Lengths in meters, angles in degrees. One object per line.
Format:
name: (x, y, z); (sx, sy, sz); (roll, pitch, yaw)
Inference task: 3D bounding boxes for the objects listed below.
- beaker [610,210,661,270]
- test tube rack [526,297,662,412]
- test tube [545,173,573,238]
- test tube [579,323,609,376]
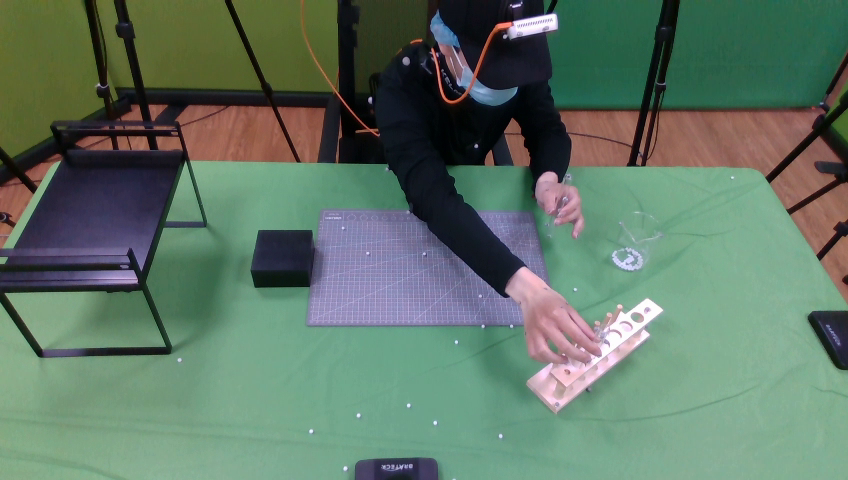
beaker: (0.405, 0.005, 1.169); (0.074, 0.101, 0.083); (19, 49, 15)
test tube rack: (0.284, 0.176, 1.007); (0.242, 0.085, 0.066); (-28, 54, -27)
test tube: (0.245, -0.060, 1.104); (0.017, 0.151, 0.017); (4, 44, -4)
test tube: (0.261, 0.173, 0.939); (0.017, 0.151, 0.017); (1, 52, -1)
